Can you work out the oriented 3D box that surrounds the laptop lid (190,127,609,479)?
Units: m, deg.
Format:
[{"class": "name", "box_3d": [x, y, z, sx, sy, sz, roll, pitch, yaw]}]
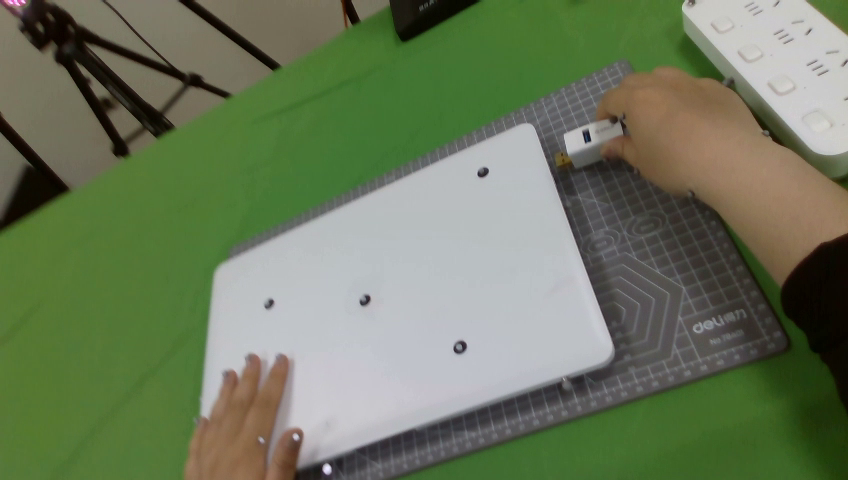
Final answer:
[{"class": "laptop lid", "box_3d": [-0.050, 0.055, 0.502, 0.356, 0.013, 0.239, -22, 51, 17]}]

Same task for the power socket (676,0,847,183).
[{"class": "power socket", "box_3d": [0.263, -0.129, 0.447, 0.072, 0.033, 0.224, -25, 47, 13]}]

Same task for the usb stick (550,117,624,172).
[{"class": "usb stick", "box_3d": [0.126, -0.073, 0.482, 0.059, 0.027, 0.021, -22, 58, 27]}]

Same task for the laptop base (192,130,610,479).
[{"class": "laptop base", "box_3d": [-0.044, 0.060, 0.512, 0.354, 0.023, 0.233, -23, 51, 16]}]
